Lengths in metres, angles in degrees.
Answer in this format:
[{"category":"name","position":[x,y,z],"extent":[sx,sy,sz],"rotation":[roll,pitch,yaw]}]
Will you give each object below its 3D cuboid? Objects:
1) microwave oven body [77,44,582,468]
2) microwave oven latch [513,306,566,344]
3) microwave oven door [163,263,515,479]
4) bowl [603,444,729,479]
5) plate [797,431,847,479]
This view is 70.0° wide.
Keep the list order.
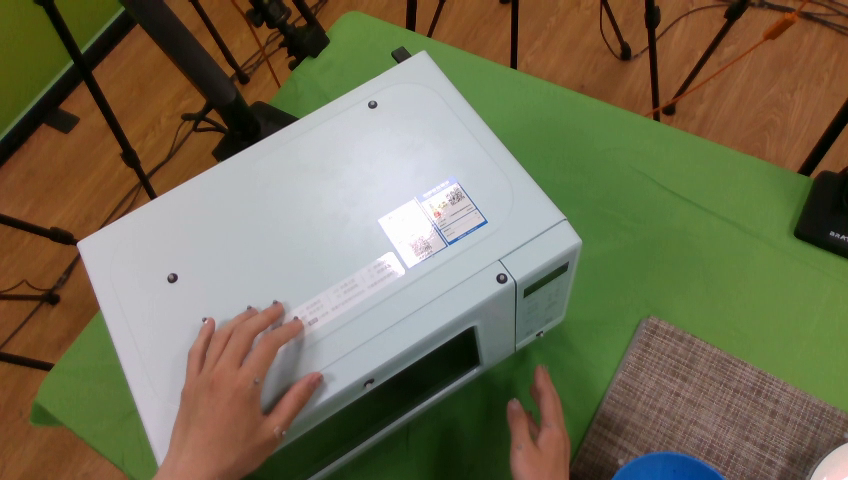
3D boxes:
[{"category":"microwave oven body","position":[-0.097,0.039,0.721],"extent":[0.442,0.262,0.323],"rotation":[-32,65,-7]},{"category":"microwave oven latch","position":[0.142,0.098,0.768],"extent":[0.079,0.030,0.030],"rotation":[-30,65,-6]},{"category":"microwave oven door","position":[-0.059,0.166,0.649],"extent":[0.356,0.246,0.039],"rotation":[-31,64,-8]},{"category":"bowl","position":[0.256,0.301,0.649],"extent":[0.151,0.077,0.150],"rotation":[-3,64,6]},{"category":"plate","position":[0.497,0.306,0.637],"extent":[0.207,0.039,0.206],"rotation":[-3,64,6]}]
